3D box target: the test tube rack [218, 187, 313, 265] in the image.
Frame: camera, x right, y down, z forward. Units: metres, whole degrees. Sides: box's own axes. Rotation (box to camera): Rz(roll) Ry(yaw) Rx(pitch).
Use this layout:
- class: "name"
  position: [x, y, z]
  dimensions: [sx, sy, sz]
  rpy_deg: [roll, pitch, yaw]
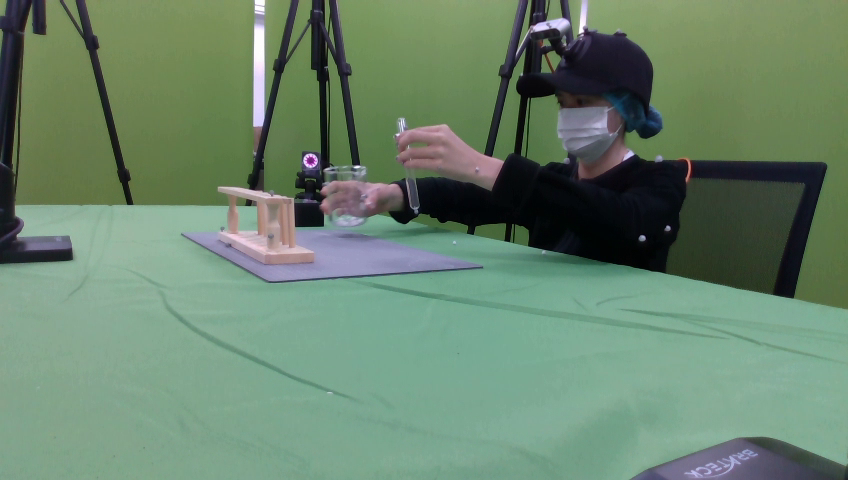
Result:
- class: "test tube rack"
  position: [-0.234, -0.027, 0.872]
  dimensions: [0.067, 0.085, 0.241]
  rpy_deg: [-1, 8, -32]

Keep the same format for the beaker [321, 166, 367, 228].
- class: "beaker"
  position: [-0.136, -0.076, 1.061]
  dimensions: [0.083, 0.100, 0.074]
  rpy_deg: [11, 20, 38]

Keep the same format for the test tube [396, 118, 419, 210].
- class: "test tube"
  position: [-0.026, -0.118, 0.931]
  dimensions: [0.017, 0.150, 0.017]
  rpy_deg: [-9, -13, -2]
